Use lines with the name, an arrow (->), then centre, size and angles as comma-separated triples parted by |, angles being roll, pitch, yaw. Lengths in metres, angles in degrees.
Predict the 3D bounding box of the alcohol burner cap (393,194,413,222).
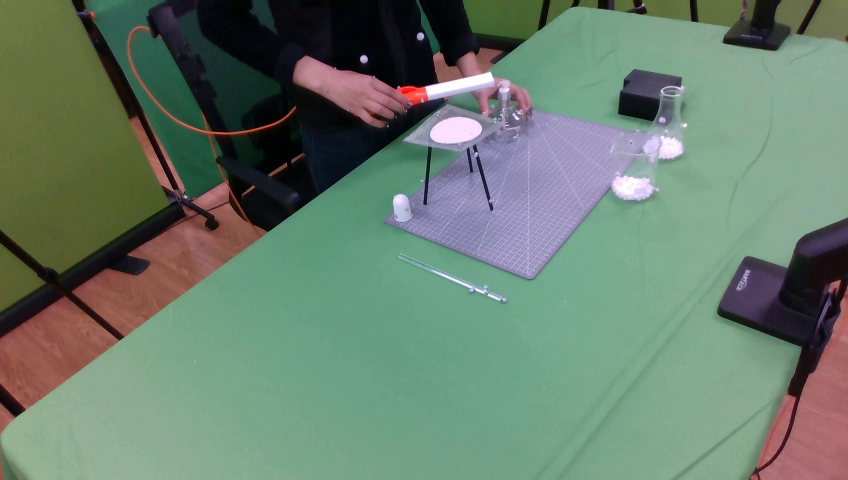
alcohol burner cap -> -0.038, -0.057, 1.038 | 0.034, 0.048, 0.033 | -6, 40, 5

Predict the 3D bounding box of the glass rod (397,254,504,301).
glass rod -> 0.036, 0.054, 0.922 | 0.198, 0.008, 0.008 | 22, 50, 31

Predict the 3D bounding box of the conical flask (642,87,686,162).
conical flask -> 0.429, -0.206, 1.067 | 0.075, 0.122, 0.075 | -6, 40, 6

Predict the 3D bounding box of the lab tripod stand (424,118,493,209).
lab tripod stand -> 0.061, -0.133, 1.038 | 0.148, 0.132, 0.147 | -6, 38, 6

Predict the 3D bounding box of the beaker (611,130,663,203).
beaker -> 0.346, -0.118, 0.998 | 0.084, 0.101, 0.073 | -17, 40, -7

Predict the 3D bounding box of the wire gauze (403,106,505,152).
wire gauze -> 0.049, -0.181, 0.992 | 0.120, 0.011, 0.125 | 23, 48, 34

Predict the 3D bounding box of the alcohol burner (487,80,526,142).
alcohol burner -> 0.160, -0.254, 1.178 | 0.078, 0.119, 0.077 | -7, 39, 6

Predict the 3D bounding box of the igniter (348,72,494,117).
igniter -> -0.006, -0.273, 1.133 | 0.277, 0.025, 0.057 | -13, 49, -1
